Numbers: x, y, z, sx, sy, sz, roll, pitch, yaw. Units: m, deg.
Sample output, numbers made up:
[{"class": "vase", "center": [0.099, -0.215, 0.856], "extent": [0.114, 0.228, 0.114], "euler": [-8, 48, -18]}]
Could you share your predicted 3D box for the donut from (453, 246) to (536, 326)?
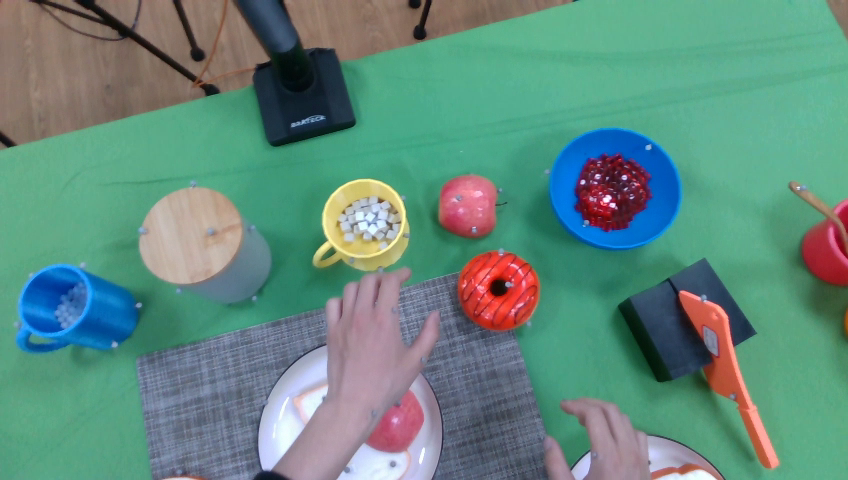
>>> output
[{"class": "donut", "center": [0.084, 0.055, 0.722], "extent": [0.099, 0.048, 0.098], "euler": [0, 75, 1]}]

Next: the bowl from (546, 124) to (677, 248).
[{"class": "bowl", "center": [0.218, -0.055, 0.735], "extent": [0.151, 0.077, 0.150], "euler": [0, 75, 2]}]

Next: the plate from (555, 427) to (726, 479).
[{"class": "plate", "center": [0.234, 0.310, 0.652], "extent": [0.209, 0.038, 0.208], "euler": [-1, 74, 3]}]

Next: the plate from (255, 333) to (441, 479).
[{"class": "plate", "center": [-0.084, 0.212, 0.686], "extent": [0.207, 0.039, 0.206], "euler": [0, 74, 2]}]

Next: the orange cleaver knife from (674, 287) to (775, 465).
[{"class": "orange cleaver knife", "center": [0.331, 0.149, 0.672], "extent": [0.012, 0.077, 0.212], "euler": [-25, 97, -12]}]

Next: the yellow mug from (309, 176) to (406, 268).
[{"class": "yellow mug", "center": [-0.086, -0.011, 0.738], "extent": [0.131, 0.064, 0.099], "euler": [-38, 76, -8]}]

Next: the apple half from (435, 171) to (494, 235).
[{"class": "apple half", "center": [0.051, -0.051, 0.752], "extent": [0.074, 0.053, 0.080], "euler": [6, 75, 6]}]

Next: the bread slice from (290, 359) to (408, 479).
[{"class": "bread slice", "center": [-0.077, 0.214, 0.687], "extent": [0.107, 0.018, 0.133], "euler": [-25, 74, -5]}]

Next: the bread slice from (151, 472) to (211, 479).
[{"class": "bread slice", "center": [-0.280, 0.327, 0.670], "extent": [0.105, 0.019, 0.131], "euler": [-7, 75, -1]}]

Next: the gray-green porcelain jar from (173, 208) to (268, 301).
[{"class": "gray-green porcelain jar", "center": [-0.245, 0.012, 0.705], "extent": [0.106, 0.127, 0.105], "euler": [0, 74, 2]}]

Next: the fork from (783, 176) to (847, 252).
[{"class": "fork", "center": [0.457, -0.024, 0.682], "extent": [0.209, 0.018, 0.028], "euler": [27, 71, -34]}]

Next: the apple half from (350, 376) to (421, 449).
[{"class": "apple half", "center": [-0.041, 0.191, 0.668], "extent": [0.081, 0.033, 0.081], "euler": [0, 73, 1]}]

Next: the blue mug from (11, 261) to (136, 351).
[{"class": "blue mug", "center": [-0.411, 0.087, 0.699], "extent": [0.116, 0.106, 0.082], "euler": [-40, 76, -9]}]

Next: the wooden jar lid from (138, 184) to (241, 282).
[{"class": "wooden jar lid", "center": [-0.247, -0.006, 0.645], "extent": [0.108, 0.021, 0.107], "euler": [-1, 73, 3]}]
